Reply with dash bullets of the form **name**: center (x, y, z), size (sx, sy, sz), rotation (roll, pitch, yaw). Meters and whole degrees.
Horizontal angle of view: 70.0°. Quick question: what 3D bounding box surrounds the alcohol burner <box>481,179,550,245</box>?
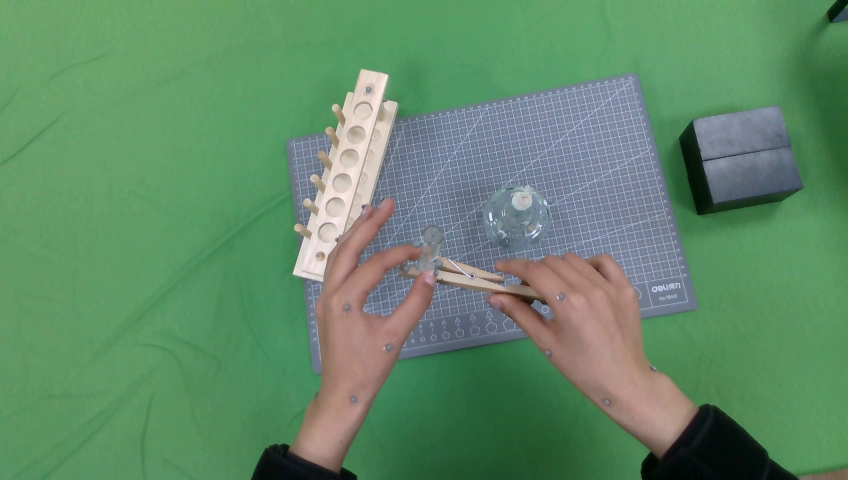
- **alcohol burner**: center (0.103, -0.036, 0.674), size (0.078, 0.119, 0.077), rotation (-1, 77, 3)

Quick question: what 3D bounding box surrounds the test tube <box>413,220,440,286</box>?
- **test tube**: center (0.001, 0.015, 0.492), size (0.017, 0.151, 0.017), rotation (1, 73, -3)

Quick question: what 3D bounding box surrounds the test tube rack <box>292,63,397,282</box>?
- **test tube rack**: center (-0.100, -0.080, 0.713), size (0.066, 0.085, 0.241), rotation (14, 80, 8)

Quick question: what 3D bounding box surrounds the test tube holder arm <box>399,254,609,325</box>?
- **test tube holder arm**: center (0.066, 0.041, 0.499), size (0.178, 0.015, 0.013), rotation (18, 88, -1)

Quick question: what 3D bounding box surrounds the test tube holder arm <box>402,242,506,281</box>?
- **test tube holder arm**: center (0.025, 0.021, 0.498), size (0.088, 0.015, 0.010), rotation (21, 87, -1)
